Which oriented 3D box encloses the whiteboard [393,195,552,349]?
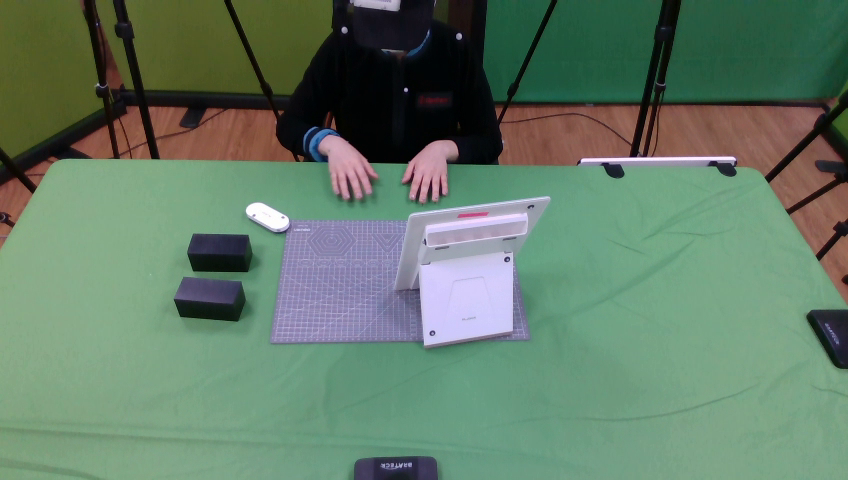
[{"bbox_3d":[0.077,0.071,0.977,0.217,0.306,0.143,-7,66,-11],"label":"whiteboard"}]

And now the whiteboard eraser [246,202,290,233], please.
[{"bbox_3d":[-0.315,-0.047,1.218,0.101,0.019,0.041,28,51,21],"label":"whiteboard eraser"}]
